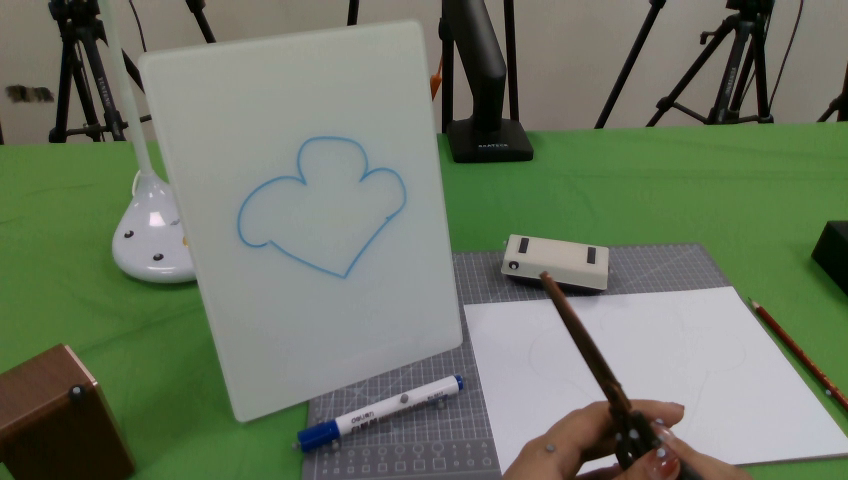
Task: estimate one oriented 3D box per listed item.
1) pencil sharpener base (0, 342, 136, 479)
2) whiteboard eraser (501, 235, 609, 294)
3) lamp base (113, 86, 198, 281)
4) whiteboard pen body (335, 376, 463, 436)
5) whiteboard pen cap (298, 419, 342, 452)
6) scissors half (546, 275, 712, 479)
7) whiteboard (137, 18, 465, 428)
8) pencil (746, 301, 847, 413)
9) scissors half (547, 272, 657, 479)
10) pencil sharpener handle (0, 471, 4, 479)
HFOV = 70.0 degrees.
[{"bbox_3d":[-0.271,0.142,0.442,0.061,0.108,0.077,30,46,33],"label":"pencil sharpener base"},{"bbox_3d":[0.143,0.028,0.662,0.112,0.042,0.055,9,38,11],"label":"whiteboard eraser"},{"bbox_3d":[-0.287,-0.071,0.672,0.178,0.182,0.160,23,41,30],"label":"lamp base"},{"bbox_3d":[-0.031,0.143,0.513,0.141,0.017,0.017,-15,39,-19],"label":"whiteboard pen body"},{"bbox_3d":[-0.084,0.158,0.492,0.033,0.018,0.018,-16,39,-20],"label":"whiteboard pen cap"},{"bbox_3d":[0.111,0.089,0.312,0.013,0.175,0.040,-36,4,-21],"label":"scissors half"},{"bbox_3d":[-0.105,-0.027,0.560,0.218,0.307,0.142,-15,20,-20],"label":"whiteboard"},{"bbox_3d":[0.365,0.119,0.575,0.012,0.012,0.192,-6,35,-9],"label":"pencil"},{"bbox_3d":[0.104,0.089,0.330,0.013,0.176,0.039,-35,20,-16],"label":"scissors half"},{"bbox_3d":[-0.303,0.155,0.402,0.035,0.068,0.030,17,38,42],"label":"pencil sharpener handle"}]
